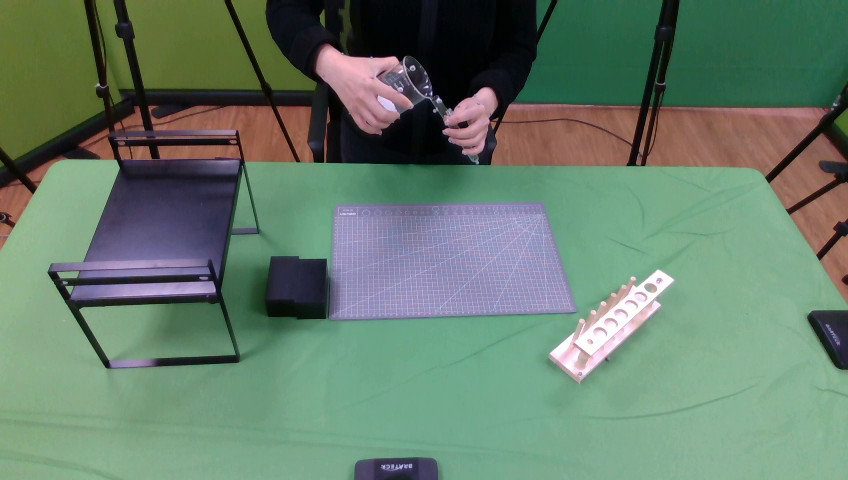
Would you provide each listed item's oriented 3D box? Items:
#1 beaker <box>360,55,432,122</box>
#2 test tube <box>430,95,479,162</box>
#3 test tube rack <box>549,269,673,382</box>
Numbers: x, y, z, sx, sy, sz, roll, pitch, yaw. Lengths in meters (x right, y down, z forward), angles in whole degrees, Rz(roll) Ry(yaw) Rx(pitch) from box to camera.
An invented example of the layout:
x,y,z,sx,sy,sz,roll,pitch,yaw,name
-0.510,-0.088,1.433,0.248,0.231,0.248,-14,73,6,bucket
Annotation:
x,y,z,sx,sy,sz,roll,pitch,yaw,name
-0.047,-0.243,0.999,0.100,0.084,0.073,-24,36,29,beaker
0.055,-0.189,1.043,0.017,0.151,0.017,-23,40,21,test tube
0.325,0.134,1.047,0.242,0.085,0.066,-32,56,-30,test tube rack
